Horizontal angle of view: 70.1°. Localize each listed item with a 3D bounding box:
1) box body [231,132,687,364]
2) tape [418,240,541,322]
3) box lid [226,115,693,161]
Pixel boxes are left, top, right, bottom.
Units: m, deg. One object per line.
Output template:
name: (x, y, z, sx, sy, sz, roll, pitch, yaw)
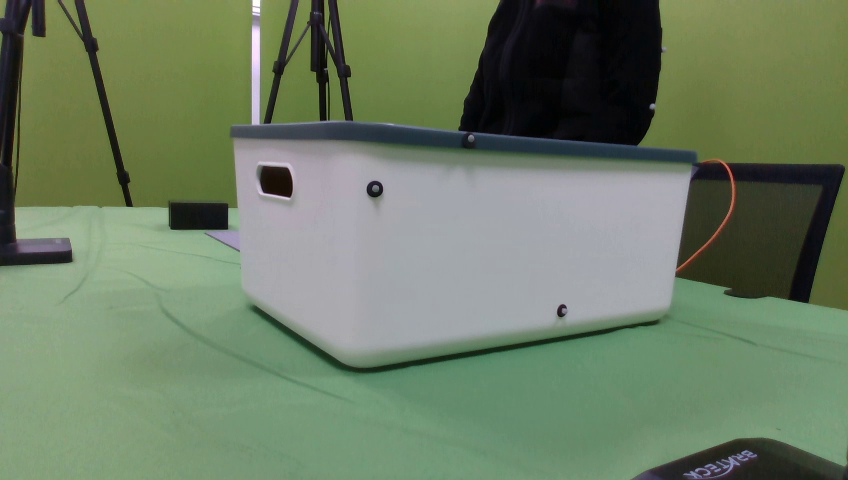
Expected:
box body: (0.031, -0.013, 0.563, 0.366, 0.160, 0.253, -3, 8, -33)
tape: (0.052, 0.035, 0.571, 0.117, 0.052, 0.117, 1, 10, 0)
box lid: (0.031, -0.086, 0.554, 0.373, 0.015, 0.262, -2, 8, -33)
